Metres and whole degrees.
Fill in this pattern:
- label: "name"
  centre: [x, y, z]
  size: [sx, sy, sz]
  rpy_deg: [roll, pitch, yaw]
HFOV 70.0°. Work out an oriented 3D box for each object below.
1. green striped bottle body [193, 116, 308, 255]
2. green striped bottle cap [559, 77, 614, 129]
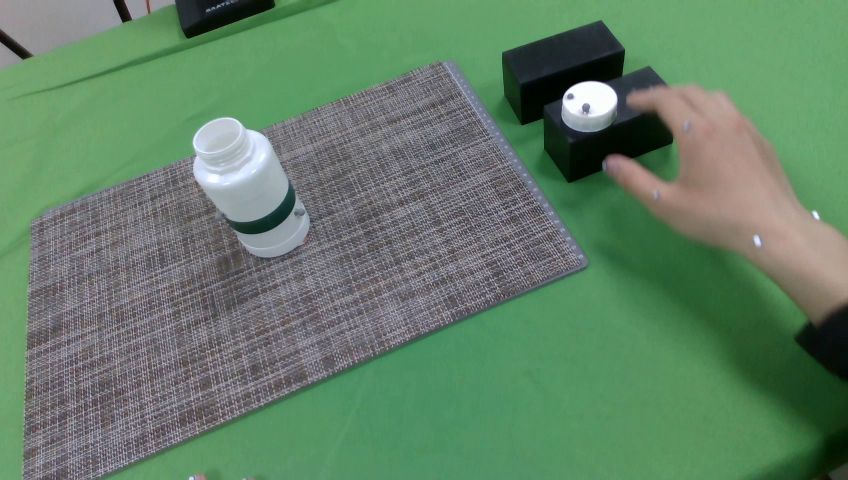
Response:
- label: "green striped bottle body"
  centre: [-0.144, -0.045, 0.498]
  size: [0.063, 0.120, 0.062]
  rpy_deg: [-5, 54, 8]
- label: "green striped bottle cap"
  centre: [0.134, -0.113, 0.498]
  size: [0.044, 0.020, 0.044]
  rpy_deg: [-5, 53, 7]
